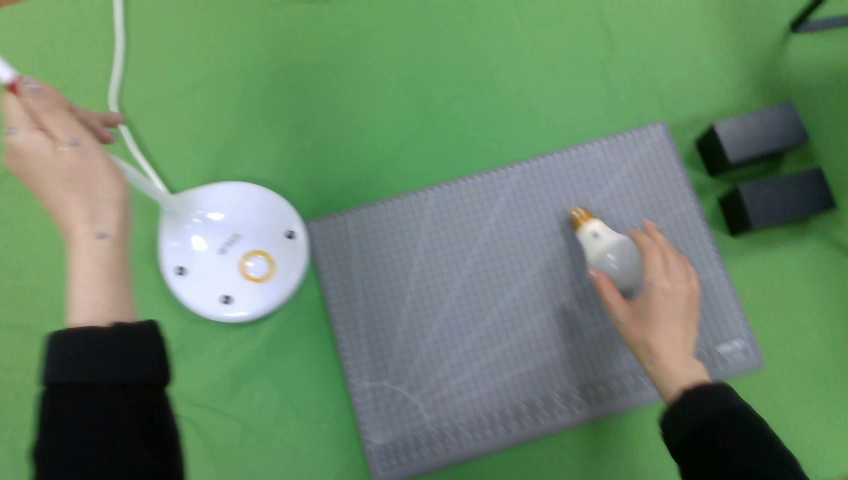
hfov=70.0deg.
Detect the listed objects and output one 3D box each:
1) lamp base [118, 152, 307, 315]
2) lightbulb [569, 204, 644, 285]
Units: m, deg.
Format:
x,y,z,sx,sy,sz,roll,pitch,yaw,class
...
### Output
x,y,z,sx,sy,sz,roll,pitch,yaw,class
-0.223,-0.018,0.607,0.179,0.181,0.160,29,78,8,lamp base
0.198,0.002,0.674,0.059,0.060,0.106,-29,64,-7,lightbulb
